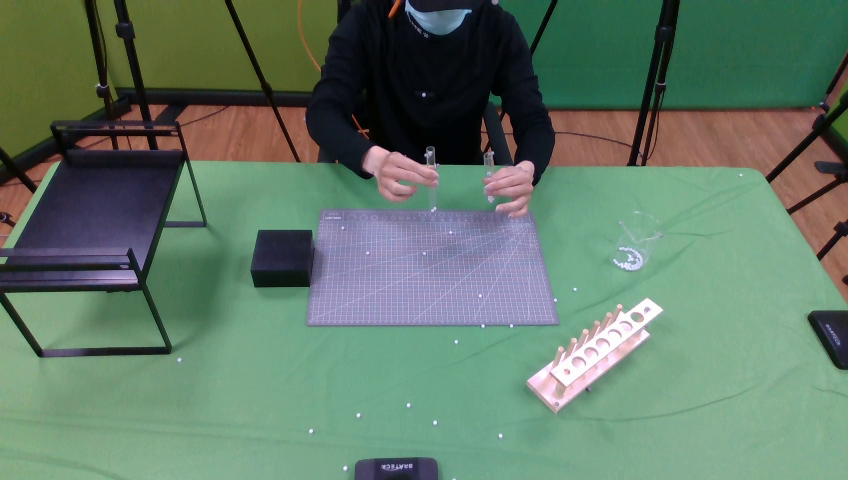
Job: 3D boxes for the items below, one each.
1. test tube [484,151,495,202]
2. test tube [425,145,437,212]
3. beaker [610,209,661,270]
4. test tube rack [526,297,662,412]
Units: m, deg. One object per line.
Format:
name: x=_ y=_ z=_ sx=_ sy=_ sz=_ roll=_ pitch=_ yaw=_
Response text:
test tube: x=0.124 y=-0.117 z=1.146 sx=0.017 sy=0.151 sz=0.017 roll=-4 pitch=59 yaw=6
test tube: x=0.014 y=-0.109 z=1.109 sx=0.017 sy=0.151 sz=0.017 roll=-2 pitch=45 yaw=2
beaker: x=0.404 y=0.005 z=1.170 sx=0.074 sy=0.101 sz=0.083 roll=19 pitch=49 yaw=15
test tube rack: x=0.284 y=0.176 z=1.007 sx=0.242 sy=0.085 sz=0.066 roll=-29 pitch=54 yaw=-27
